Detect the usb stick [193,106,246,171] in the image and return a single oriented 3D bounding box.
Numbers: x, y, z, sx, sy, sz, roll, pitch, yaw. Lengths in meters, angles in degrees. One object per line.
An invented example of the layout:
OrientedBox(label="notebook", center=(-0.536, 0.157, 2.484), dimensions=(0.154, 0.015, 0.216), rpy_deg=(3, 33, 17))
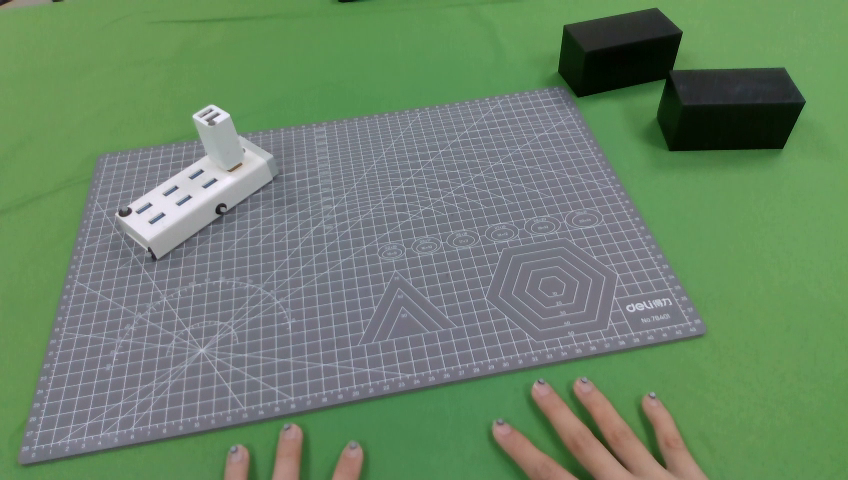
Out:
OrientedBox(label="usb stick", center=(-0.165, -0.078, 0.496), dimensions=(0.027, 0.060, 0.021), rpy_deg=(27, 56, 29))

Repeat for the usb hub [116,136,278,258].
OrientedBox(label="usb hub", center=(-0.186, -0.040, 0.506), dimensions=(0.049, 0.025, 0.125), rpy_deg=(31, 57, 27))
